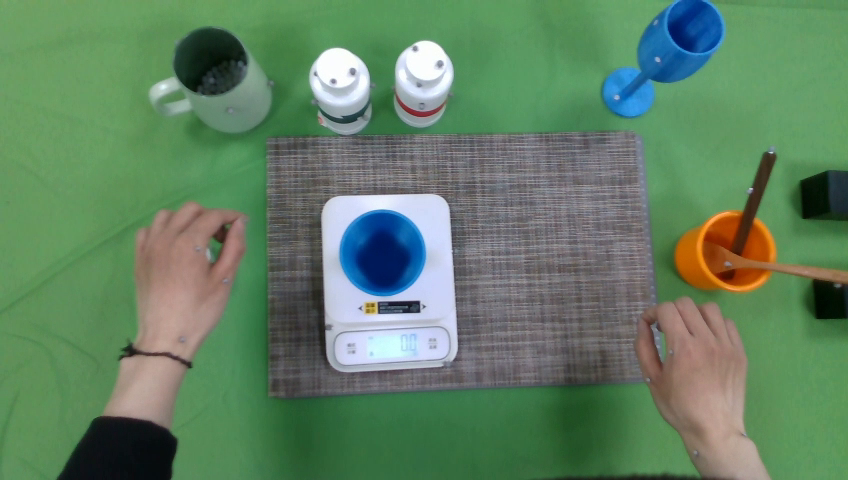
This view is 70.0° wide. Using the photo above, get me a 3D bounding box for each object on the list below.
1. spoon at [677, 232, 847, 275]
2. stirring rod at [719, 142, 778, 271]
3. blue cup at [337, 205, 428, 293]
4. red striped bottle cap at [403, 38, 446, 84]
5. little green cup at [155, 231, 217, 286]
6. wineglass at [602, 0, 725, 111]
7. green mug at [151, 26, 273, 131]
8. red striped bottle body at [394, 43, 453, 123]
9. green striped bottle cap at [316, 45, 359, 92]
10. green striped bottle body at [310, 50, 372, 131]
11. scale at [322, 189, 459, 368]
[{"bbox_3d":[0.379,0.020,0.668,0.022,0.192,0.041,12,89,-46],"label":"spoon"},{"bbox_3d":[0.358,-0.031,0.673,0.014,0.178,0.005,4,42,9],"label":"stirring rod"},{"bbox_3d":[-0.041,0.014,0.629,0.093,0.100,0.092,0,84,-4],"label":"blue cup"},{"bbox_3d":[0.001,-0.187,0.628,0.044,0.018,0.044,1,80,-7],"label":"red striped bottle cap"},{"bbox_3d":[-0.263,0.022,0.678,0.061,0.038,0.061,1,83,-5],"label":"little green cup"},{"bbox_3d":[0.259,-0.204,0.674,0.074,0.172,0.073,0,82,-3],"label":"wineglass"},{"bbox_3d":[-0.237,-0.170,0.671,0.125,0.105,0.092,-24,85,-6],"label":"green mug"},{"bbox_3d":[-0.002,-0.180,0.681,0.063,0.120,0.063,1,82,-4],"label":"red striped bottle body"},{"bbox_3d":[-0.089,-0.176,0.621,0.044,0.020,0.044,1,82,-4],"label":"green striped bottle cap"},{"bbox_3d":[-0.091,-0.169,0.673,0.063,0.119,0.063,1,82,-3],"label":"green striped bottle body"},{"bbox_3d":[-0.038,0.042,0.691,0.149,0.031,0.200,-3,83,-4],"label":"scale"}]
